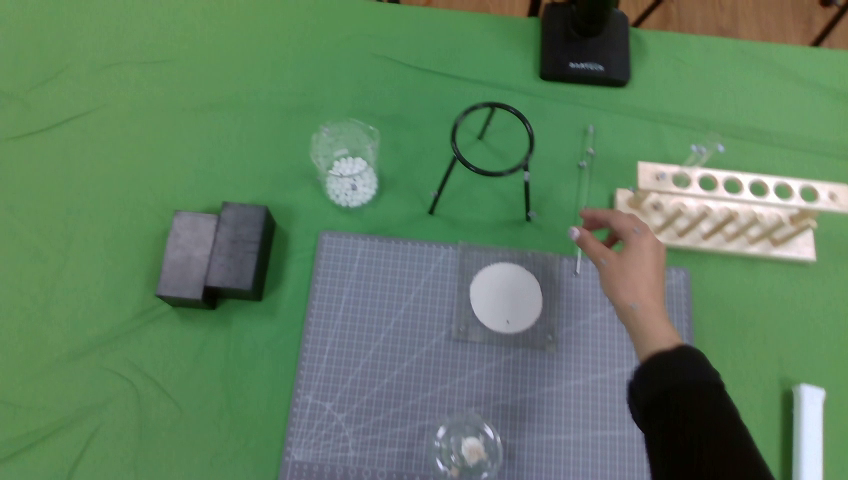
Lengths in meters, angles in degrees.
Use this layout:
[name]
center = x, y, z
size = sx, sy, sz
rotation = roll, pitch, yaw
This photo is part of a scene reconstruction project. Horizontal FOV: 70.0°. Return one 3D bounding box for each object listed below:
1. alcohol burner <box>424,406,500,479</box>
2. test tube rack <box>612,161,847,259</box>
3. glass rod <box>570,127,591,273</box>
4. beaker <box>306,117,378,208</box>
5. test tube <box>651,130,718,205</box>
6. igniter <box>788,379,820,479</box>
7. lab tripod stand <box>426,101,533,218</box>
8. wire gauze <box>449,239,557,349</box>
[alcohol burner]
center = 0.040, 0.204, 0.606
size = 0.078, 0.120, 0.077
rotation = 1, 69, -4
[test tube rack]
center = 0.356, -0.034, 0.719
size = 0.242, 0.085, 0.066
rotation = 6, 71, 0
[glass rod]
center = 0.196, -0.053, 0.758
size = 0.008, 0.008, 0.198
rotation = 11, 72, 1
[beaker]
center = -0.090, -0.088, 0.710
size = 0.084, 0.101, 0.073
rotation = -32, 75, -13
[test tube]
center = 0.287, -0.076, 0.678
size = 0.017, 0.151, 0.017
rotation = 1, 67, -1
[igniter]
center = 0.400, 0.287, 0.642
size = 0.057, 0.025, 0.275
rotation = 16, 71, -8
[lab tripod stand]
center = 0.068, -0.091, 0.700
size = 0.148, 0.132, 0.147
rotation = 0, 70, 0
[wire gauze]
center = 0.093, 0.061, 0.713
size = 0.125, 0.011, 0.120
rotation = 7, 70, 1
